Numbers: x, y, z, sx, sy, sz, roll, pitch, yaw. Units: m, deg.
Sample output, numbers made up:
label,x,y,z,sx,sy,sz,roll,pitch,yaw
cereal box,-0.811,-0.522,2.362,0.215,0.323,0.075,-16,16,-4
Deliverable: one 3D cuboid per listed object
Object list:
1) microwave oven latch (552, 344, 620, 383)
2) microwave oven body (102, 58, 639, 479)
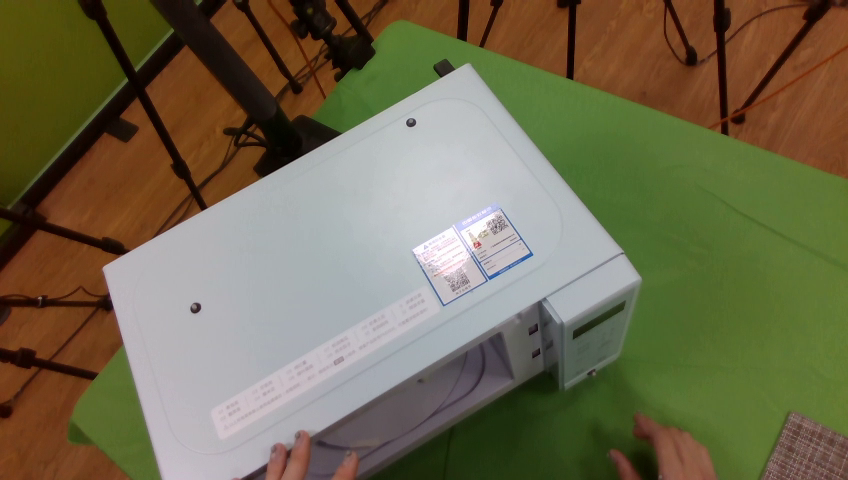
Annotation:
label,x,y,z,sx,sy,sz,roll,pitch,yaw
microwave oven latch,0.187,0.133,0.700,0.079,0.030,0.030,-29,62,-2
microwave oven body,-0.054,0.070,0.674,0.442,0.262,0.322,-31,62,-3
